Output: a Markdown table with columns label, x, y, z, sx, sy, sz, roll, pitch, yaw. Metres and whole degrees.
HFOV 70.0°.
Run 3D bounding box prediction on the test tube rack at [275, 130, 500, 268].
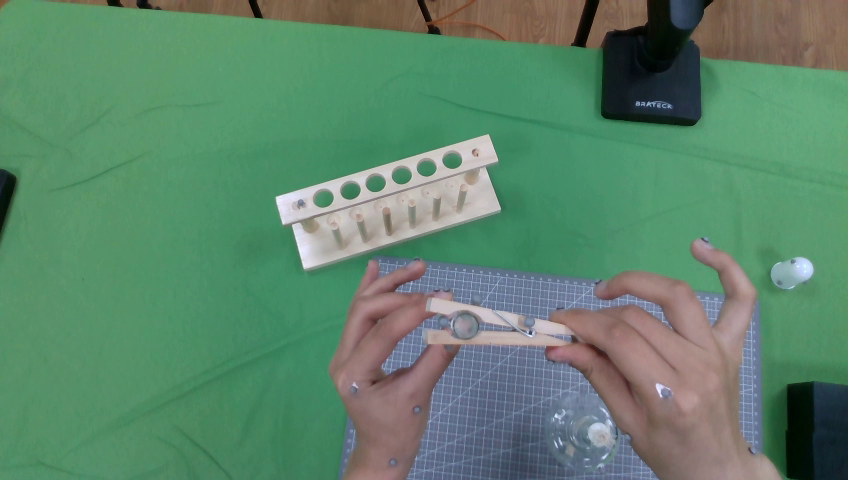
| label | x | y | z | sx | sy | sz | roll | pitch | yaw |
| --- | --- | --- | --- | --- | --- | --- | --- | --- | --- |
| test tube rack | -0.035 | -0.044 | 0.687 | 0.242 | 0.085 | 0.066 | -17 | 74 | -4 |

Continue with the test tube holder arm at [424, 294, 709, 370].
| label | x | y | z | sx | sy | sz | roll | pitch | yaw |
| --- | --- | --- | --- | --- | --- | --- | --- | --- | --- |
| test tube holder arm | 0.086 | 0.054 | 0.353 | 0.179 | 0.015 | 0.013 | 12 | 83 | -12 |

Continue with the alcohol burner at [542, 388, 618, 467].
| label | x | y | z | sx | sy | sz | roll | pitch | yaw |
| --- | --- | --- | --- | --- | --- | --- | --- | --- | --- |
| alcohol burner | 0.160 | 0.188 | 0.607 | 0.078 | 0.119 | 0.077 | 0 | 75 | -1 |

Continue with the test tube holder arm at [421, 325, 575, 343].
| label | x | y | z | sx | sy | sz | roll | pitch | yaw |
| --- | --- | --- | --- | --- | --- | --- | --- | --- | --- |
| test tube holder arm | 0.042 | 0.053 | 0.343 | 0.088 | 0.015 | 0.010 | 2 | 84 | -13 |

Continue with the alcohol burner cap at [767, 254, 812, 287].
| label | x | y | z | sx | sy | sz | roll | pitch | yaw |
| --- | --- | --- | --- | --- | --- | --- | --- | --- | --- |
| alcohol burner cap | 0.418 | 0.033 | 0.689 | 0.034 | 0.048 | 0.033 | 0 | 73 | 1 |

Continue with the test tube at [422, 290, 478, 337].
| label | x | y | z | sx | sy | sz | roll | pitch | yaw |
| --- | --- | --- | --- | --- | --- | --- | --- | --- | --- |
| test tube | 0.014 | 0.047 | 0.406 | 0.017 | 0.150 | 0.017 | 0 | 90 | -7 |
